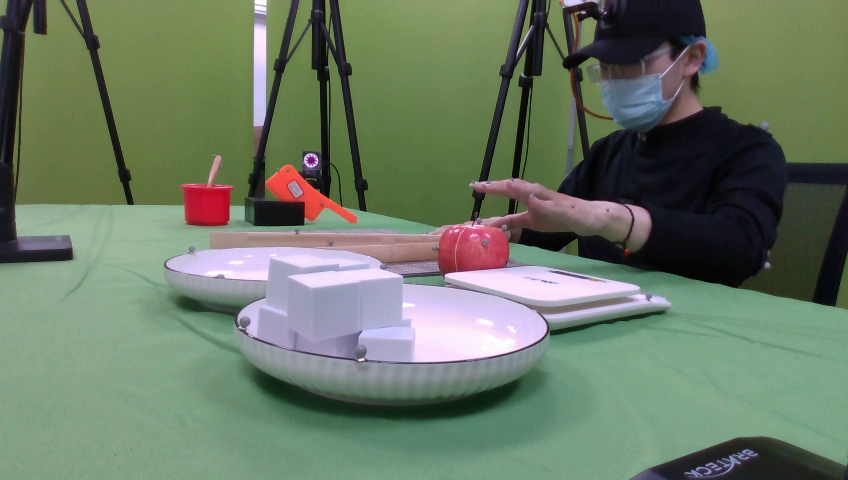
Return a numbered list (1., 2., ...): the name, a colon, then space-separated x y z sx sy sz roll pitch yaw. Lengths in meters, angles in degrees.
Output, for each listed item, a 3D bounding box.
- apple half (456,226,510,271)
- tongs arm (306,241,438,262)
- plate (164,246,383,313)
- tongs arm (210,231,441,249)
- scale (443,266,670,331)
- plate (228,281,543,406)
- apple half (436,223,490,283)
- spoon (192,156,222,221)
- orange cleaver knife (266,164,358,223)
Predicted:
1. apple half: 0.072 0.021 0.662 0.082 0.081 0.032 -4 7 -42
2. tongs arm: -0.070 0.017 0.800 0.390 0.028 0.028 -2 4 -34
3. plate: -0.145 0.038 0.600 0.209 0.038 0.209 2 7 0
4. tongs arm: -0.105 0.004 0.876 0.386 0.026 0.050 0 6 -20
5. scale: 0.131 0.052 0.602 0.202 0.031 0.148 -2 9 -37
6. plate: -0.025 0.067 0.413 0.208 0.039 0.207 3 7 0
7. apple half: 0.045 0.017 0.691 0.081 0.074 0.053 -9 10 -41
8. spoon: -0.430 -0.108 1.222 0.041 0.021 0.193 -1 52 0
9. orange cleaver knife: -0.237 -0.082 1.295 0.212 0.077 0.012 35 -8 -26
